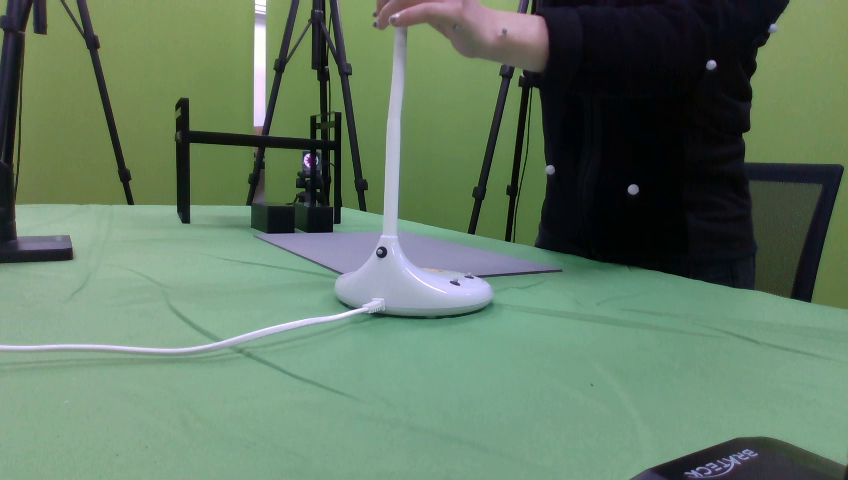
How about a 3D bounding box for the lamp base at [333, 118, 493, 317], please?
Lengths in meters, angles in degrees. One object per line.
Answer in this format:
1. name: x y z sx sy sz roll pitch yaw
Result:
1. lamp base: -0.012 -0.025 0.586 0.160 0.180 0.179 4 10 15
